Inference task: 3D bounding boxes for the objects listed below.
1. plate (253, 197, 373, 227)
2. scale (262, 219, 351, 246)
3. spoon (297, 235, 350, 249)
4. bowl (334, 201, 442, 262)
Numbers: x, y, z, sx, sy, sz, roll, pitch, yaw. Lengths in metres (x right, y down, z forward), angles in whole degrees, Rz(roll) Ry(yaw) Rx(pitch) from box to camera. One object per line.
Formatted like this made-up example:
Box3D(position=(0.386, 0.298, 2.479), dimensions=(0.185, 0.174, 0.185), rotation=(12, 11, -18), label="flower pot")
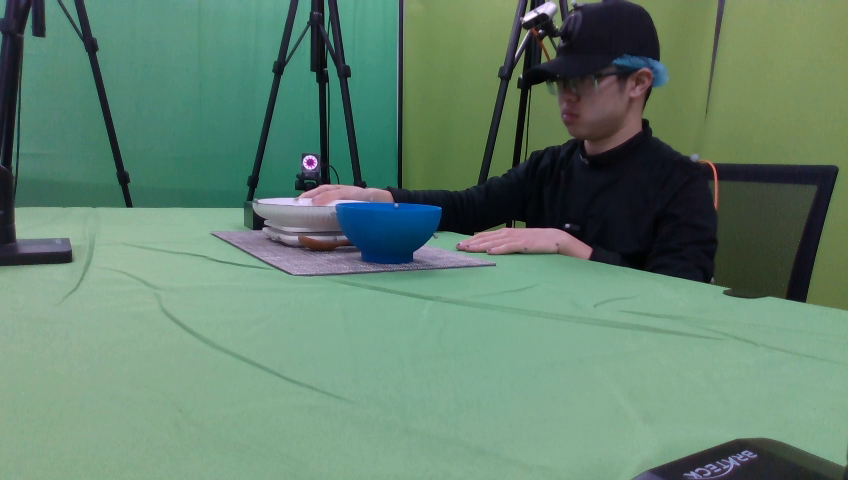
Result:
Box3D(position=(-0.178, -0.048, 1.012), dimensions=(0.209, 0.038, 0.209), rotation=(2, 7, 0), label="plate")
Box3D(position=(-0.160, -0.015, 1.027), dimensions=(0.202, 0.031, 0.148), rotation=(-2, 8, -32), label="scale")
Box3D(position=(-0.102, 0.002, 0.942), dimensions=(0.195, 0.021, 0.041), rotation=(-1, -5, -31), label="spoon")
Box3D(position=(-0.051, -0.012, 0.848), dimensions=(0.151, 0.077, 0.151), rotation=(2, 7, 0), label="bowl")
